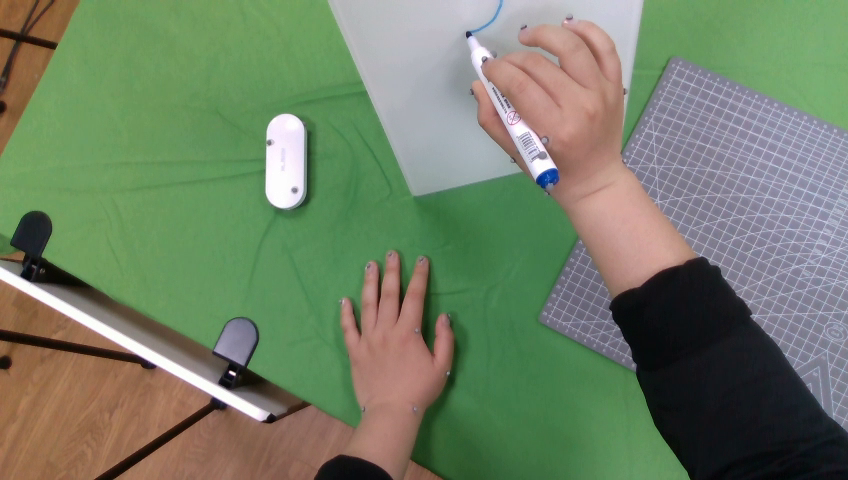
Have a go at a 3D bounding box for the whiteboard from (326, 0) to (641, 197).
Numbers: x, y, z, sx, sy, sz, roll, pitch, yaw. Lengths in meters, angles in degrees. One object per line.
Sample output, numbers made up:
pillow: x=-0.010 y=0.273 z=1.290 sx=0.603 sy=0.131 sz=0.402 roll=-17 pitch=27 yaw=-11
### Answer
whiteboard: x=0.051 y=-0.195 z=0.514 sx=0.217 sy=0.308 sz=0.142 roll=-13 pitch=63 yaw=6

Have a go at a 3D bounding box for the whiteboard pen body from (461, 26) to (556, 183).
whiteboard pen body: x=0.053 y=-0.097 z=0.409 sx=0.017 sy=0.017 sz=0.139 roll=-26 pitch=65 yaw=5

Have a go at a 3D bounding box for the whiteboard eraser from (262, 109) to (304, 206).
whiteboard eraser: x=-0.149 y=-0.087 z=0.639 sx=0.041 sy=0.019 sz=0.101 roll=0 pitch=85 yaw=5
